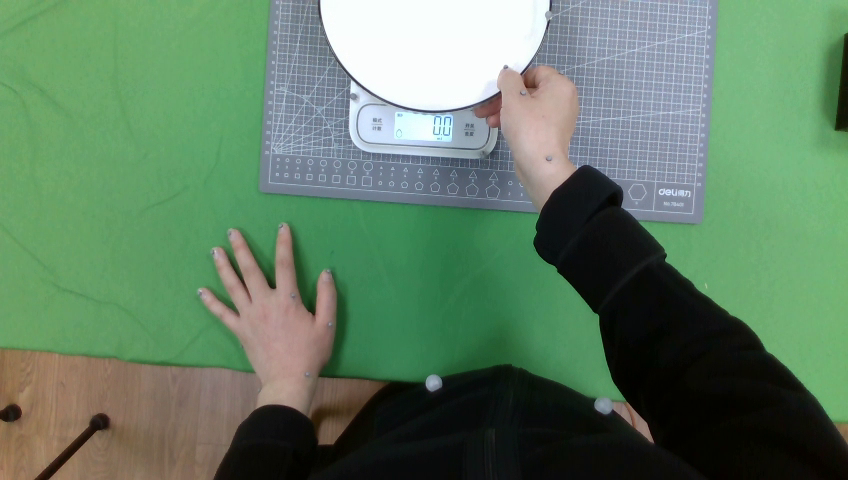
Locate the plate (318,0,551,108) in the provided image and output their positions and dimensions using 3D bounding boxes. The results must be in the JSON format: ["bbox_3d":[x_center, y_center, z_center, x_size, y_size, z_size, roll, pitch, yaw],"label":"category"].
[{"bbox_3d":[0.010,-0.218,0.554,0.209,0.038,0.208,0,85,0],"label":"plate"}]

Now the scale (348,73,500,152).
[{"bbox_3d":[0.003,-0.192,0.596,0.149,0.031,0.201,4,91,-1],"label":"scale"}]
